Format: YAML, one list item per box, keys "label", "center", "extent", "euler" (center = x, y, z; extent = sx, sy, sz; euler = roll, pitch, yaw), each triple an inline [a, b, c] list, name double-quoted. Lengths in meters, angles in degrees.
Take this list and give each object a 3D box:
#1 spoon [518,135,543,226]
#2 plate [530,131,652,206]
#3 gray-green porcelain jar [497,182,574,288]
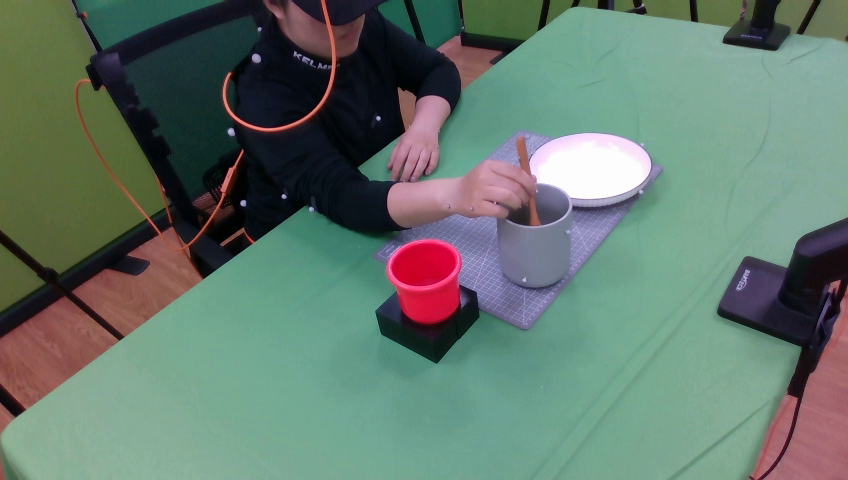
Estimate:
- label: "spoon"
  center: [0.145, -0.050, 0.810]
  extent: [0.041, 0.194, 0.021]
  euler: [-3, 27, 24]
- label: "plate"
  center: [0.287, -0.121, 1.056]
  extent: [0.207, 0.039, 0.206]
  euler: [-5, 40, 5]
- label: "gray-green porcelain jar"
  center: [0.160, -0.003, 0.869]
  extent: [0.106, 0.127, 0.105]
  euler: [-5, 40, 5]
